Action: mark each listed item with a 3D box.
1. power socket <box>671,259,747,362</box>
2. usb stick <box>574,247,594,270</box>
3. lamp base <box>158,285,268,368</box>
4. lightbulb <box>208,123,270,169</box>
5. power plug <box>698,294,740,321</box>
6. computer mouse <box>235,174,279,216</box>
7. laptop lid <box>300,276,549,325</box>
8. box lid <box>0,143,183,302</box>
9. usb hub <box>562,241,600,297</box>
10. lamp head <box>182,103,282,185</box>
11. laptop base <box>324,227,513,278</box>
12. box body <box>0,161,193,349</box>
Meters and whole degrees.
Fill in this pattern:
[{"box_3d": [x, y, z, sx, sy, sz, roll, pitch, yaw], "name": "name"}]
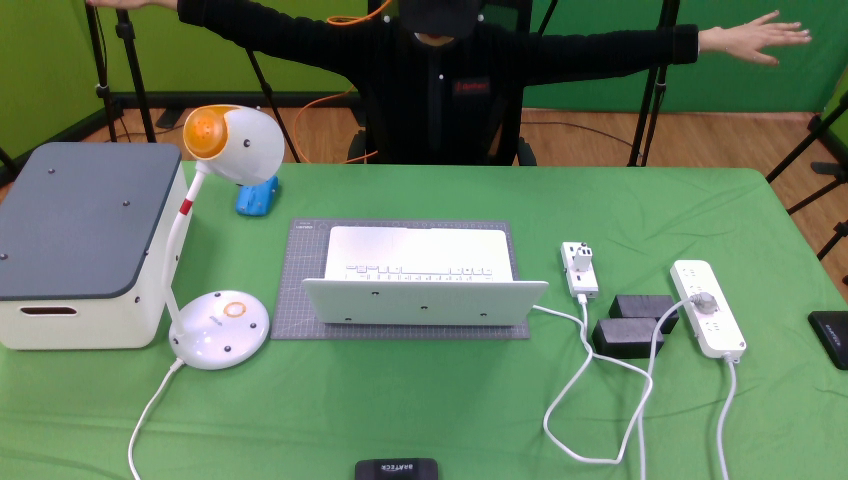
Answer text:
[{"box_3d": [0.517, 0.119, 1.108, 0.072, 0.033, 0.225, 0, 46, -2], "name": "power socket"}, {"box_3d": [0.298, 0.040, 1.135, 0.027, 0.059, 0.021, 2, 46, -4], "name": "usb stick"}, {"box_3d": [-0.348, 0.102, 0.963, 0.160, 0.181, 0.178, 23, 51, 18], "name": "lamp base"}, {"box_3d": [-0.261, -0.136, 0.848, 0.059, 0.108, 0.059, -4, 77, 21], "name": "lightbulb"}, {"box_3d": [0.515, 0.127, 1.070, 0.035, 0.053, 0.072, -18, 56, -7], "name": "power plug"}, {"box_3d": [-0.346, -0.099, 1.258, 0.063, 0.041, 0.116, 8, 50, 2], "name": "computer mouse"}, {"box_3d": [-0.002, 0.100, 0.947, 0.357, 0.242, 0.013, 1, 67, -4], "name": "laptop lid"}, {"box_3d": [-0.567, -0.045, 0.999, 0.263, 0.015, 0.369, -1, 46, -4], "name": "box lid"}, {"box_3d": [0.300, 0.055, 1.162, 0.049, 0.025, 0.124, 2, 46, -3], "name": "usb hub"}, {"box_3d": [-0.271, -0.133, 0.825, 0.112, 0.112, 0.123, 20, 8, 15], "name": "lamp head"}, {"box_3d": [-0.009, 0.063, 1.137, 0.354, 0.023, 0.234, 1, 42, -3], "name": "laptop base"}, {"box_3d": [-0.570, 0.006, 1.054, 0.254, 0.161, 0.361, -1, 46, -4], "name": "box body"}]
